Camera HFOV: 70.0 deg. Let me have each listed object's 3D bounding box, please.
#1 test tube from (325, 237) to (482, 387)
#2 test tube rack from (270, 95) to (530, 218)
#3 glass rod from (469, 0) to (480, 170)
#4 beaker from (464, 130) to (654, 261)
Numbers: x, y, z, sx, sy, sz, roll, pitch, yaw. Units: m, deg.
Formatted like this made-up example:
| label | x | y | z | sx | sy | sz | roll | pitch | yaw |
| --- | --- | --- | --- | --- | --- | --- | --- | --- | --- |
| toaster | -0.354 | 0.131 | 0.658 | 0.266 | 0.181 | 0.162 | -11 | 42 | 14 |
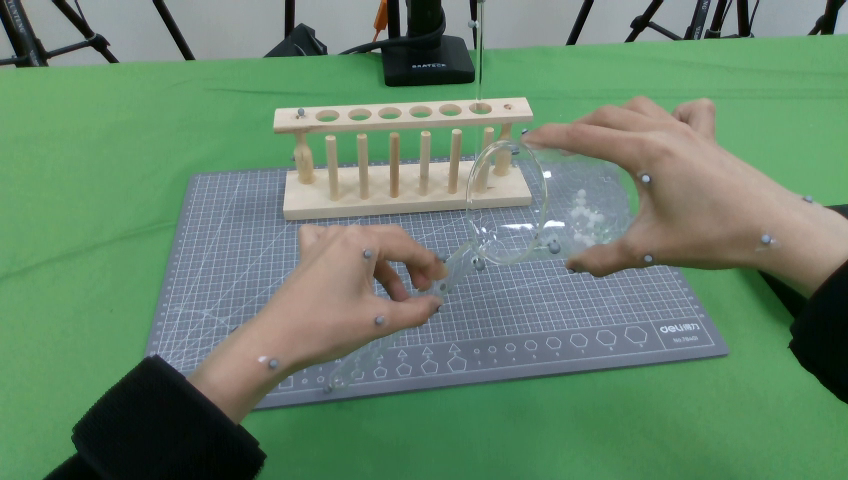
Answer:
| label | x | y | z | sx | sy | sz | roll | pitch | yaw |
| --- | --- | --- | --- | --- | --- | --- | --- | --- | --- |
| test tube | -0.017 | 0.052 | 0.406 | 0.017 | 0.150 | 0.017 | 38 | 22 | -18 |
| test tube rack | -0.020 | -0.082 | 0.590 | 0.243 | 0.086 | 0.066 | -4 | 43 | -5 |
| glass rod | 0.048 | -0.156 | 0.574 | 0.008 | 0.201 | 0.008 | -1 | 36 | 1 |
| beaker | 0.084 | -0.024 | 0.378 | 0.101 | 0.084 | 0.073 | -3 | 51 | -31 |
